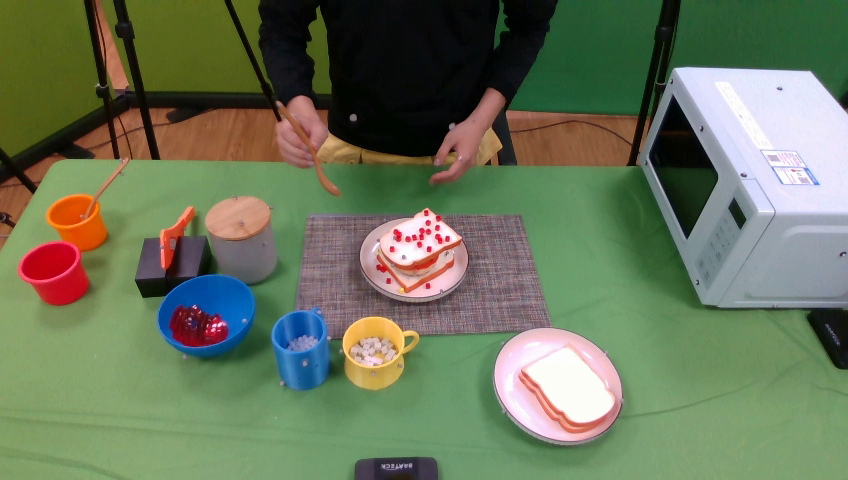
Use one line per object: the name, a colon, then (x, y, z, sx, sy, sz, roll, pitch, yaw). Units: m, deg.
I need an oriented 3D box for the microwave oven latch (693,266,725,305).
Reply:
microwave oven latch: (0.523, 0.081, 1.115, 0.030, 0.029, 0.078, 3, 46, 0)

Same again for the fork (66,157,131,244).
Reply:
fork: (-0.608, -0.074, 1.132, 0.207, 0.019, 0.028, -52, 49, 10)

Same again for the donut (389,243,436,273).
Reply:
donut: (-0.023, 0.018, 1.120, 0.099, 0.048, 0.098, -10, 48, 11)

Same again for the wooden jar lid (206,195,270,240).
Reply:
wooden jar lid: (-0.319, -0.036, 1.046, 0.108, 0.021, 0.107, 1, 44, -1)

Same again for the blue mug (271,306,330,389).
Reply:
blue mug: (-0.188, 0.163, 0.969, 0.082, 0.106, 0.116, 15, 47, 10)

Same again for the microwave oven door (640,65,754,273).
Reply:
microwave oven door: (0.523, -0.147, 1.193, 0.039, 0.245, 0.353, 0, 47, -3)

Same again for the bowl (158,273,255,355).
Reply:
bowl: (-0.351, 0.136, 1.001, 0.151, 0.077, 0.150, 2, 46, -2)

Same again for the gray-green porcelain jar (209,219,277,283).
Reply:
gray-green porcelain jar: (-0.323, 0.007, 1.092, 0.106, 0.127, 0.105, 2, 46, -2)

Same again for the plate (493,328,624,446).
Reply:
plate: (0.213, 0.236, 0.974, 0.208, 0.039, 0.206, 2, 46, -2)

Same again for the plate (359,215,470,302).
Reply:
plate: (-0.019, 0.038, 1.140, 0.209, 0.038, 0.208, 2, 46, -2)

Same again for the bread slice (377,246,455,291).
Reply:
bread slice: (-0.010, 0.034, 1.151, 0.131, 0.019, 0.104, -29, 57, -22)

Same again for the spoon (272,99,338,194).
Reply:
spoon: (-0.186, -0.145, 0.961, 0.021, 0.195, 0.041, -25, 40, 0)

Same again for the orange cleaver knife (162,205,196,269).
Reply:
orange cleaver knife: (-0.454, -0.010, 1.129, 0.012, 0.077, 0.210, -2, 20, -5)

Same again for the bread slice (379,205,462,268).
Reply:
bread slice: (-0.012, -0.001, 1.097, 0.134, 0.018, 0.106, -33, 52, -23)

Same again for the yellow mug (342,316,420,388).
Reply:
yellow mug: (-0.068, 0.177, 0.990, 0.131, 0.064, 0.099, -15, 50, -20)

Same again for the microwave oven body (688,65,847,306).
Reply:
microwave oven body: (0.669, -0.111, 1.176, 0.326, 0.261, 0.439, 0, 46, -3)
